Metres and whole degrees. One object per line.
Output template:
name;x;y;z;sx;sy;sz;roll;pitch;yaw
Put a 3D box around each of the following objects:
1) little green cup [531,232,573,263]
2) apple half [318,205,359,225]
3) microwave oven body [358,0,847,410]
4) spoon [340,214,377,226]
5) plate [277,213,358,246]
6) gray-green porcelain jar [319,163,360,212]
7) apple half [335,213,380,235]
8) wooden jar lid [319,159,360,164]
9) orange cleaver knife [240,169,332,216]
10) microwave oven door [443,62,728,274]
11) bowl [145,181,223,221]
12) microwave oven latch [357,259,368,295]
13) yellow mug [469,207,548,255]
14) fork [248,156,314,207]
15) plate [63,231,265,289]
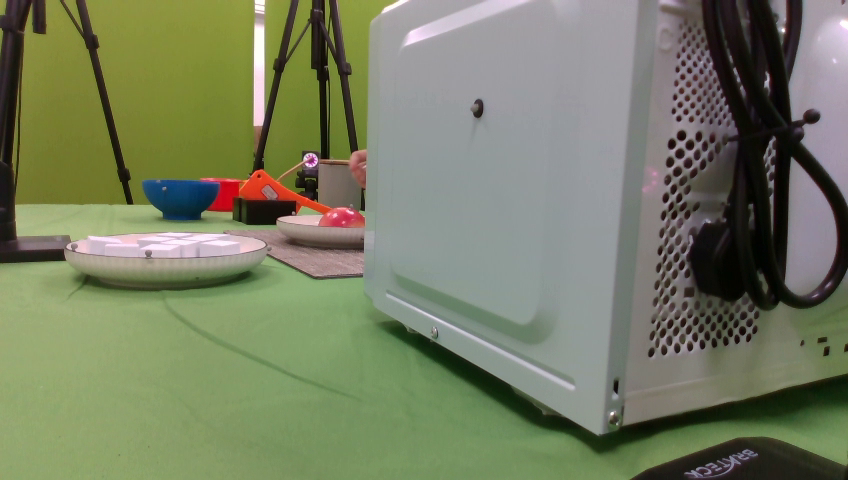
little green cup;0.185;0.010;0.879;0.061;0.038;0.061;1;8;0
apple half;-0.126;-0.029;0.954;0.081;0.053;0.074;-2;10;-32
microwave oven body;0.210;-0.051;0.471;0.444;0.260;0.324;-1;7;-28
spoon;-0.132;-0.048;1.305;0.041;0.021;0.194;-14;4;14
plate;-0.135;-0.018;0.993;0.209;0.038;0.209;2;7;0
gray-green porcelain jar;-0.204;-0.126;1.490;0.106;0.126;0.106;2;8;0
apple half;-0.112;-0.029;1.034;0.081;0.033;0.081;-1;10;0
wooden jar lid;-0.203;-0.189;1.482;0.108;0.020;0.108;2;10;0
orange cleaver knife;-0.287;-0.082;1.298;0.212;0.077;0.012;25;-2;-31
microwave oven door;0.188;-0.097;0.784;0.354;0.243;0.039;6;9;31
bowl;-0.499;-0.081;1.261;0.151;0.077;0.151;2;8;0
microwave oven latch;-0.019;0.031;0.529;0.079;0.029;0.030;-1;7;-28
yellow mug;0.137;-0.015;0.950;0.131;0.064;0.099;2;7;-20
fork;-0.360;-0.147;1.523;0.207;0.019;0.028;-43;16;-6
plate;-0.288;0.021;0.687;0.208;0.039;0.207;2;8;0
